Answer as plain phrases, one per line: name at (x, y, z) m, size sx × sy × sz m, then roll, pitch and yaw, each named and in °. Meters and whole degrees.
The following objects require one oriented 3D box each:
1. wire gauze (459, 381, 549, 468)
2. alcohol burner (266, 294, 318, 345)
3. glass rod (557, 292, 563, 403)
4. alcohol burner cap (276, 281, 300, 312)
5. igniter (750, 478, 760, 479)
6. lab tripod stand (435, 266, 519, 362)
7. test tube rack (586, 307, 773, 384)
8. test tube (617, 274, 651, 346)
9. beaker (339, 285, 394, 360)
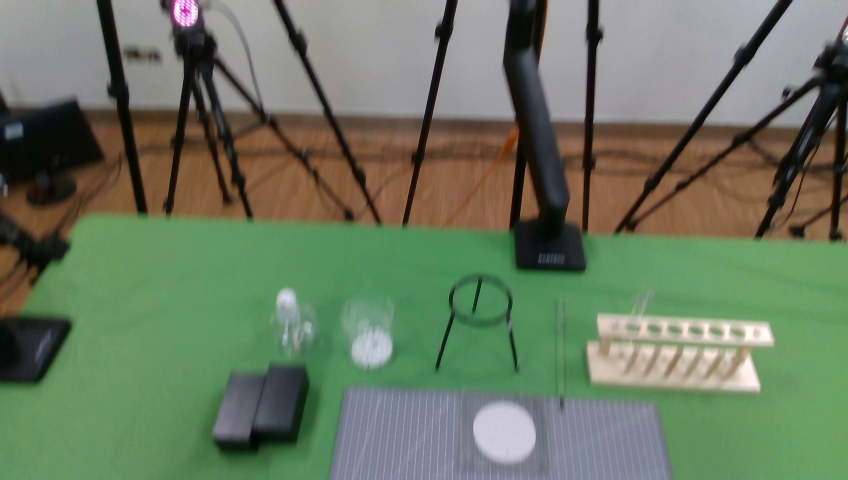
wire gauze at (0.110, 0.251, 0.842) m, size 0.125 × 0.011 × 0.120 m, roll 3°, pitch 47°, yaw 4°
alcohol burner at (-0.200, 0.104, 0.904) m, size 0.078 × 0.120 × 0.077 m, roll 1°, pitch 46°, yaw 0°
glass rod at (0.209, 0.159, 0.927) m, size 0.008 × 0.008 × 0.198 m, roll 7°, pitch 49°, yaw 5°
alcohol burner cap at (-0.198, 0.079, 0.877) m, size 0.034 × 0.048 × 0.033 m, roll 3°, pitch 50°, yaw -3°
igniter at (0.400, 0.411, 0.690) m, size 0.057 × 0.025 × 0.274 m, roll 17°, pitch 49°, yaw 1°
lab tripod stand at (0.077, 0.109, 0.888) m, size 0.148 × 0.133 × 0.147 m, roll -1°, pitch 47°, yaw 1°
test tube rack at (0.369, 0.154, 0.882) m, size 0.242 × 0.086 × 0.066 m, roll 3°, pitch 48°, yaw 2°
test tube at (0.297, 0.103, 0.861) m, size 0.017 × 0.151 × 0.017 m, roll 0°, pitch 45°, yaw 1°
beaker at (-0.080, 0.124, 0.897) m, size 0.084 × 0.101 × 0.073 m, roll -28°, pitch 54°, yaw -24°
